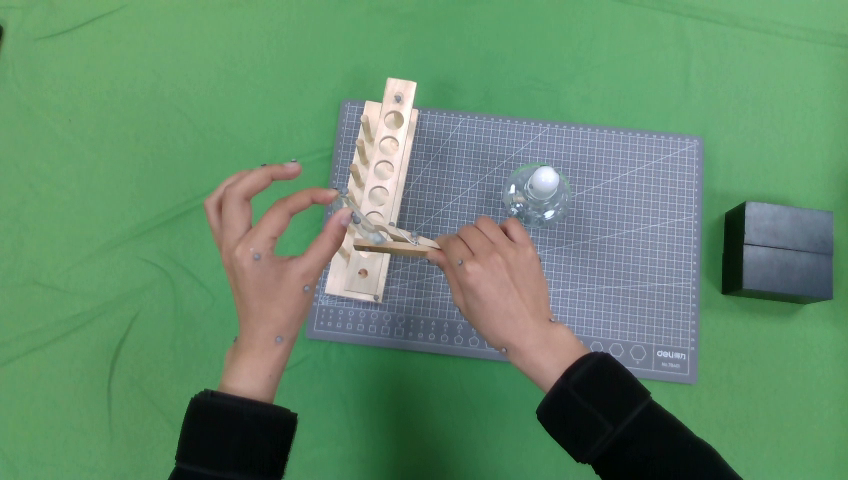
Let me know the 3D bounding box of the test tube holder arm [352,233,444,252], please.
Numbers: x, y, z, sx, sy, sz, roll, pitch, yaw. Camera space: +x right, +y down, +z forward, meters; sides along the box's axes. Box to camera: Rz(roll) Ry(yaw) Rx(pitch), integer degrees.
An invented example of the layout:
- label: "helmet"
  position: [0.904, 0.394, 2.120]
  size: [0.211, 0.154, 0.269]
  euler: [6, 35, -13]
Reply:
- label: "test tube holder arm"
  position: [-0.024, 0.003, 0.570]
  size: [0.088, 0.015, 0.010]
  euler: [3, 68, 7]

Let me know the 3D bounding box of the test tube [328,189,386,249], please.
- label: "test tube"
  position: [-0.056, -0.015, 0.546]
  size: [0.017, 0.151, 0.017]
  euler: [-2, 76, 9]

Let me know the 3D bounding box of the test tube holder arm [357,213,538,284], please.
- label: "test tube holder arm"
  position: [0.020, 0.007, 0.564]
  size: [0.178, 0.015, 0.013]
  euler: [17, 71, 12]

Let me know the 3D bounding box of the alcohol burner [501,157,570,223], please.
- label: "alcohol burner"
  position: [0.127, -0.060, 0.675]
  size: [0.078, 0.119, 0.077]
  euler: [0, 80, 1]

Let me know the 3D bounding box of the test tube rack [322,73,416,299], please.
- label: "test tube rack"
  position: [-0.064, -0.061, 0.688]
  size: [0.067, 0.085, 0.241]
  euler: [10, 79, 2]

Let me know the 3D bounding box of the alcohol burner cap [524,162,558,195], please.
- label: "alcohol burner cap"
  position: [0.125, -0.067, 0.640]
  size: [0.034, 0.048, 0.034]
  euler: [0, 83, 3]
